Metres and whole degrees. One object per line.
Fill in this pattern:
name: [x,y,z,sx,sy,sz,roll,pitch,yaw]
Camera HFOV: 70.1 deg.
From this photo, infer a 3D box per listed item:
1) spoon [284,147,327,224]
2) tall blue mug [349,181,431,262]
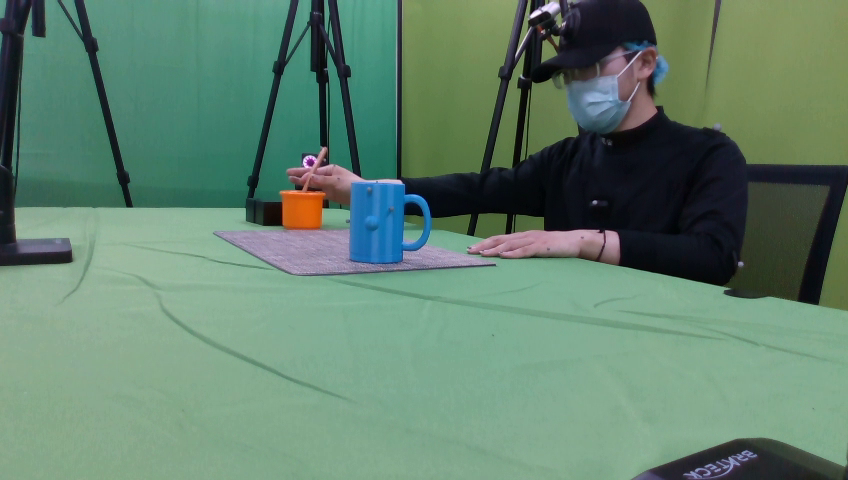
spoon: [-0.239,-0.114,1.245,0.041,0.193,0.022,2,-25,40]
tall blue mug: [-0.052,-0.028,0.849,0.108,0.108,0.077,-1,7,-22]
